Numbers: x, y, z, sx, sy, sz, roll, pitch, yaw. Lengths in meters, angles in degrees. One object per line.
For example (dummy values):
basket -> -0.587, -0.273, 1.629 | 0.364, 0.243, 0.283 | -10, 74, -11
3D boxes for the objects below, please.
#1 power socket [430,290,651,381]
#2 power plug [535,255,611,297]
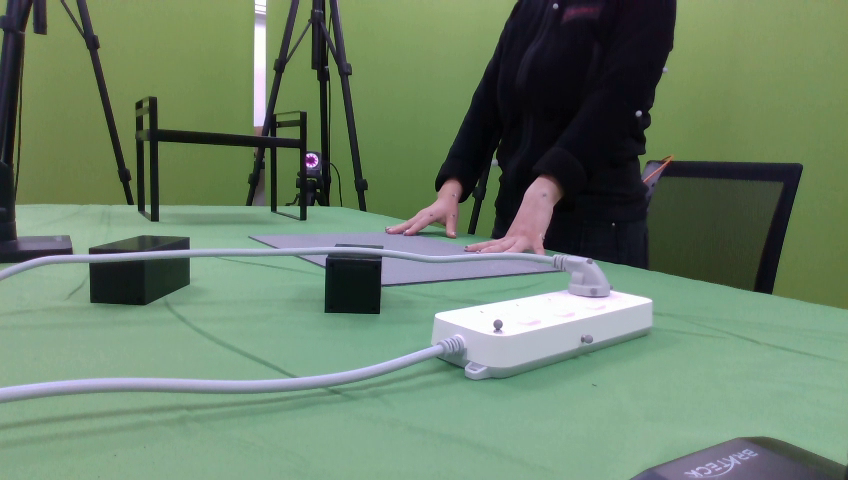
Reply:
power socket -> 0.100, 0.067, 0.480 | 0.228, 0.032, 0.072 | -5, 9, -41
power plug -> 0.137, 0.041, 0.549 | 0.035, 0.052, 0.072 | -3, 6, -31
